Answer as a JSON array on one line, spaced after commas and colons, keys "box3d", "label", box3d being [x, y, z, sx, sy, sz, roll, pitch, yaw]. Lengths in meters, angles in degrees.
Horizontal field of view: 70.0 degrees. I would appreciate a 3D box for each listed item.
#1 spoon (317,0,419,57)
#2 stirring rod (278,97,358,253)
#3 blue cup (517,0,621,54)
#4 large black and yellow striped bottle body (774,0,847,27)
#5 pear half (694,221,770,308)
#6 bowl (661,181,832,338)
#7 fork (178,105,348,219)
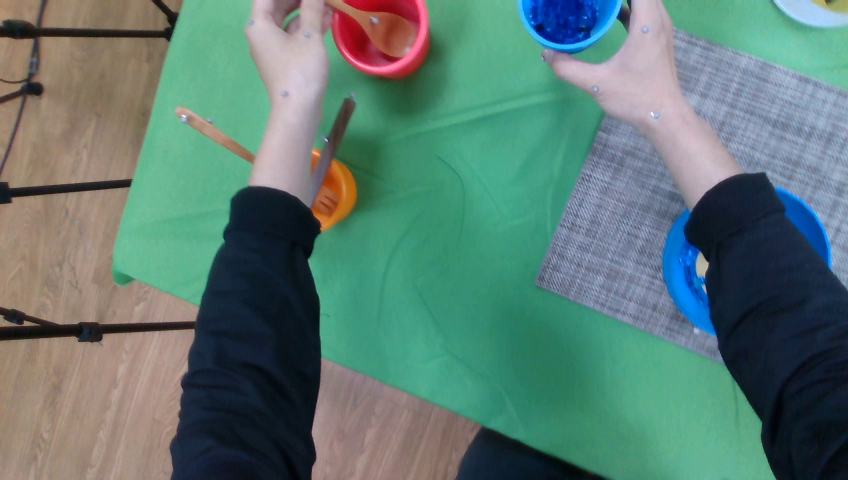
[{"box3d": [-0.082, -0.231, 0.597, 0.042, 0.195, 0.021, -56, 47, 19], "label": "spoon"}, {"box3d": [-0.110, -0.065, 0.624, 0.014, 0.006, 0.176, 27, 99, 2], "label": "stirring rod"}, {"box3d": [0.131, -0.209, 0.549, 0.092, 0.100, 0.093, 1, 97, 12], "label": "blue cup"}, {"box3d": [0.392, -0.269, 0.515, 0.130, 0.184, 0.131, 1, 96, 8], "label": "large black and yellow striped bottle body"}, {"box3d": [0.309, 0.025, 0.602, 0.070, 0.031, 0.088, -4, 91, 6], "label": "pear half"}, {"box3d": [0.309, 0.016, 0.607, 0.151, 0.077, 0.151, 1, 96, 9], "label": "bowl"}, {"box3d": [-0.161, -0.078, 0.631, 0.028, 0.018, 0.209, -41, 133, 18], "label": "fork"}]
